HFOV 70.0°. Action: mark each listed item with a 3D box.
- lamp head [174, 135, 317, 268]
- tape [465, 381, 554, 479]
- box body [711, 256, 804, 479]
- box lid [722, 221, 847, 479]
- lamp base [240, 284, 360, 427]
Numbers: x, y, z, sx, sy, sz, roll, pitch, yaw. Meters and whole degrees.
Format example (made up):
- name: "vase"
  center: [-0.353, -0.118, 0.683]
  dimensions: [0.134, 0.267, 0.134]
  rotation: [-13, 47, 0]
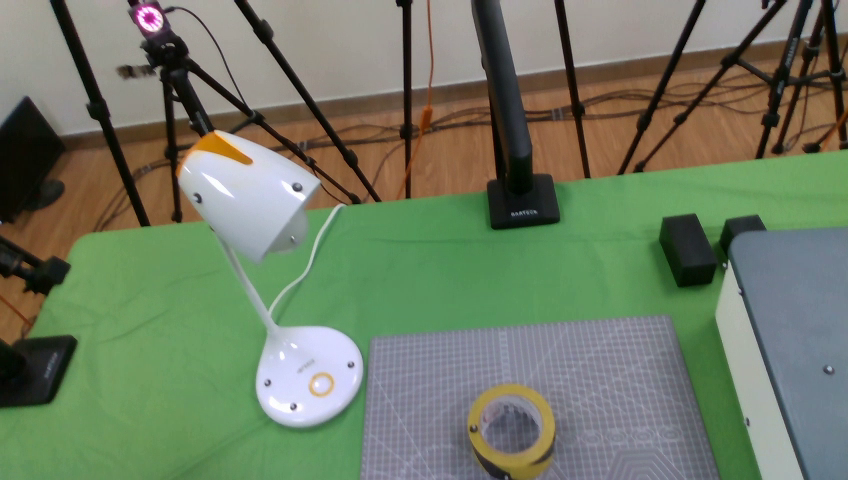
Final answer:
- name: "lamp head"
  center: [-0.189, -0.046, 0.619]
  dimensions: [0.123, 0.112, 0.112]
  rotation: [34, 57, -6]
- name: "tape"
  center: [0.110, 0.245, 0.787]
  dimensions: [0.117, 0.053, 0.115]
  rotation: [-5, 48, 6]
- name: "box body"
  center: [0.511, 0.167, 0.705]
  dimensions: [0.254, 0.162, 0.360]
  rotation: [-4, 49, 8]
- name: "box lid"
  center: [0.501, 0.117, 0.651]
  dimensions: [0.263, 0.015, 0.368]
  rotation: [-4, 49, 8]
- name: "lamp base"
  center: [-0.195, 0.147, 0.849]
  dimensions: [0.177, 0.182, 0.160]
  rotation: [26, 59, 32]
